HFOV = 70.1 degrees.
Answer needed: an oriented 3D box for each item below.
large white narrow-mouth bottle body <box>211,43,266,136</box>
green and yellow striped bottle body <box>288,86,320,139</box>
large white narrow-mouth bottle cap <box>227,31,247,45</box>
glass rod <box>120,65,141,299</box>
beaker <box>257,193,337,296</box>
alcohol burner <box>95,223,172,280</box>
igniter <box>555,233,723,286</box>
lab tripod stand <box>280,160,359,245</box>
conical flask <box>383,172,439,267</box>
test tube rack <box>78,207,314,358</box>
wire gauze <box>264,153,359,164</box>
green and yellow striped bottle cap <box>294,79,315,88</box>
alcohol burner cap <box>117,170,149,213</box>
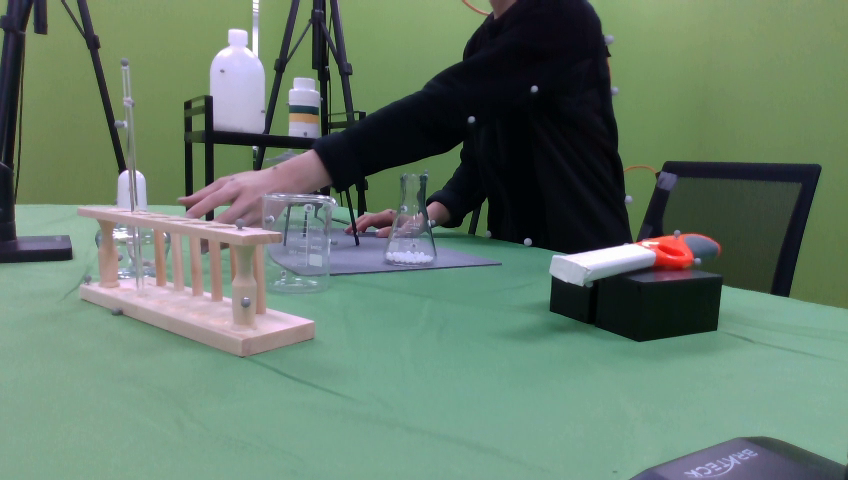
[{"bbox_3d":[-0.361,-0.303,1.176,0.102,0.194,0.102,1,7,0],"label":"large white narrow-mouth bottle body"},{"bbox_3d":[-0.250,-0.272,1.261,0.063,0.119,0.063,3,7,0],"label":"green and yellow striped bottle body"},{"bbox_3d":[-0.360,-0.388,1.165,0.038,0.024,0.037,1,7,0],"label":"large white narrow-mouth bottle cap"},{"bbox_3d":[-0.249,-0.047,0.513,0.008,0.199,0.008,-1,4,0],"label":"glass rod"},{"bbox_3d":[-0.130,0.003,0.628,0.084,0.100,0.074,5,8,15],"label":"beaker"},{"bbox_3d":[-0.320,-0.016,0.667,0.078,0.119,0.078,0,7,0],"label":"alcohol burner"},{"bbox_3d":[0.214,0.015,0.570,0.278,0.025,0.057,-6,22,-44],"label":"igniter"},{"bbox_3d":[-0.176,-0.062,0.973,0.148,0.131,0.148,1,7,0],"label":"lab tripod stand"},{"bbox_3d":[-0.016,-0.029,0.808,0.075,0.122,0.075,2,8,0],"label":"conical flask"},{"bbox_3d":[-0.197,0.023,0.499,0.241,0.085,0.067,8,9,37],"label":"test tube rack"},{"bbox_3d":[-0.181,-0.129,0.969,0.126,0.011,0.121,-1,6,-27],"label":"wire gauze"},{"bbox_3d":[-0.248,-0.323,1.256,0.045,0.020,0.045,4,9,0],"label":"green and yellow striped bottle cap"},{"bbox_3d":[-0.320,-0.052,0.661,0.034,0.048,0.034,-3,0,0],"label":"alcohol burner cap"}]
